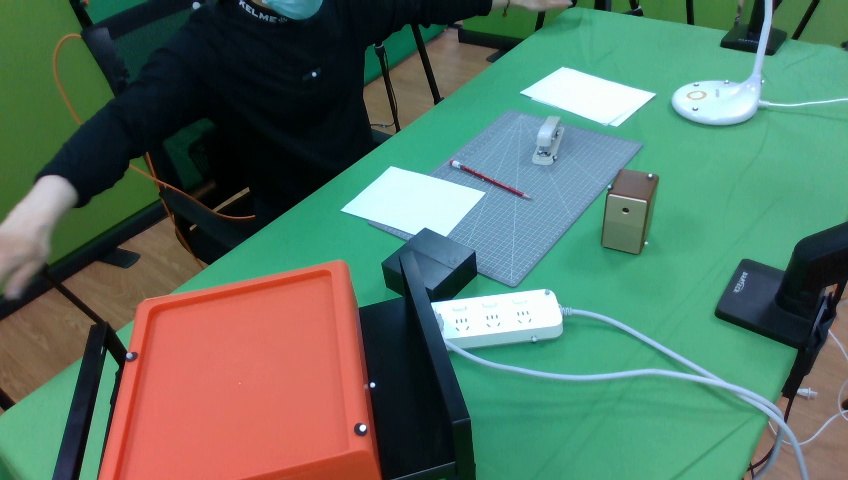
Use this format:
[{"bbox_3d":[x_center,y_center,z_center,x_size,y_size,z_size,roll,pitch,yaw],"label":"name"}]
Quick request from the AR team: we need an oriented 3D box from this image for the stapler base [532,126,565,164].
[{"bbox_3d":[0.238,-0.189,1.155,0.041,0.024,0.130,10,42,17],"label":"stapler base"}]

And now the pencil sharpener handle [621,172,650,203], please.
[{"bbox_3d":[0.328,-0.087,0.941,0.036,0.068,0.030,30,49,7],"label":"pencil sharpener handle"}]

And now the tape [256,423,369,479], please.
[{"bbox_3d":[-0.121,0.263,0.660,0.117,0.053,0.116,-4,40,4],"label":"tape"}]

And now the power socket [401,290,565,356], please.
[{"bbox_3d":[0.080,0.112,0.822,0.227,0.033,0.072,-6,41,0],"label":"power socket"}]

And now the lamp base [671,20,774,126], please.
[{"bbox_3d":[0.581,-0.332,1.154,0.179,0.181,0.160,2,41,7],"label":"lamp base"}]

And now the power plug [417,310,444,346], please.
[{"bbox_3d":[0.006,0.122,0.785,0.035,0.053,0.072,-1,40,9],"label":"power plug"}]

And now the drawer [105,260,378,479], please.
[{"bbox_3d":[-0.150,0.127,0.525,0.195,0.073,0.210,-11,41,-5],"label":"drawer"}]

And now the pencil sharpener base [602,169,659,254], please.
[{"bbox_3d":[0.312,-0.044,0.914,0.061,0.107,0.077,14,45,24],"label":"pencil sharpener base"}]

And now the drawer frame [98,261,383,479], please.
[{"bbox_3d":[-0.149,0.129,0.520,0.202,0.083,0.212,-12,41,-6],"label":"drawer frame"}]

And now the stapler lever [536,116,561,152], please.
[{"bbox_3d":[0.236,-0.209,1.140,0.026,0.040,0.118,10,43,18],"label":"stapler lever"}]

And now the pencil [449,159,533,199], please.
[{"bbox_3d":[0.118,-0.110,1.091,0.192,0.012,0.012,30,53,34],"label":"pencil"}]
